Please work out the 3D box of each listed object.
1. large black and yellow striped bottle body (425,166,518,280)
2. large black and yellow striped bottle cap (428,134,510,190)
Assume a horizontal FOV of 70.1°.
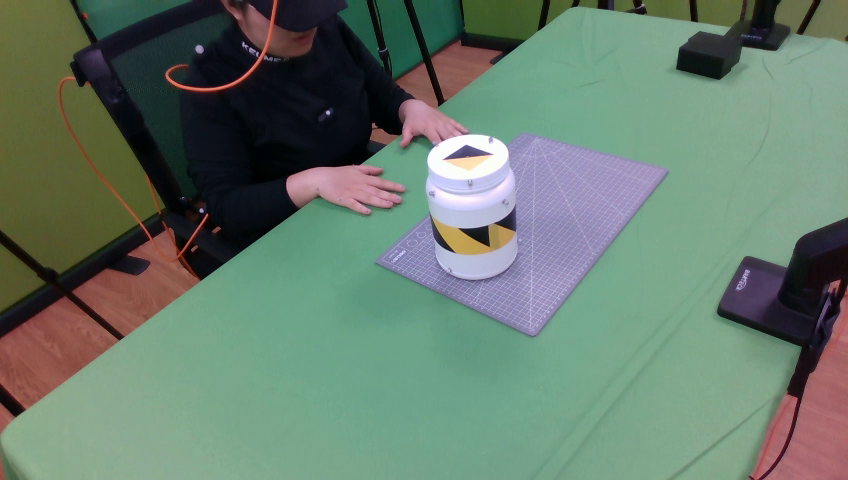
[{"bbox_3d":[0.072,-0.047,0.894,0.131,0.185,0.130,-5,40,5],"label":"large black and yellow striped bottle body"},{"bbox_3d":[0.062,-0.111,0.840,0.115,0.019,0.114,-5,41,5],"label":"large black and yellow striped bottle cap"}]
